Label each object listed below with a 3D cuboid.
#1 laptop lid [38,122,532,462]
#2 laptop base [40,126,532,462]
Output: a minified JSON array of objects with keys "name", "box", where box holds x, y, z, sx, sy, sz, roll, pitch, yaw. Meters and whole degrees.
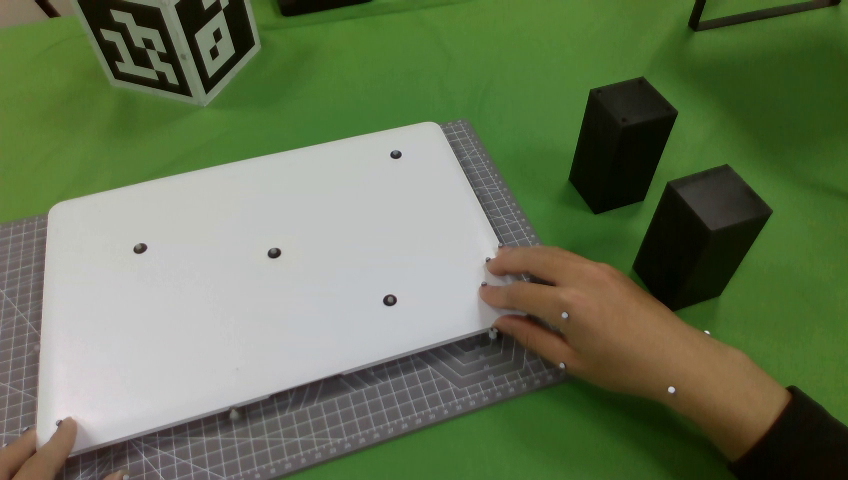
[{"name":"laptop lid","box":[-0.117,0.015,0.487,0.357,0.013,0.239,-13,54,-10]},{"name":"laptop base","box":[-0.118,0.020,0.498,0.355,0.023,0.233,-15,55,-11]}]
